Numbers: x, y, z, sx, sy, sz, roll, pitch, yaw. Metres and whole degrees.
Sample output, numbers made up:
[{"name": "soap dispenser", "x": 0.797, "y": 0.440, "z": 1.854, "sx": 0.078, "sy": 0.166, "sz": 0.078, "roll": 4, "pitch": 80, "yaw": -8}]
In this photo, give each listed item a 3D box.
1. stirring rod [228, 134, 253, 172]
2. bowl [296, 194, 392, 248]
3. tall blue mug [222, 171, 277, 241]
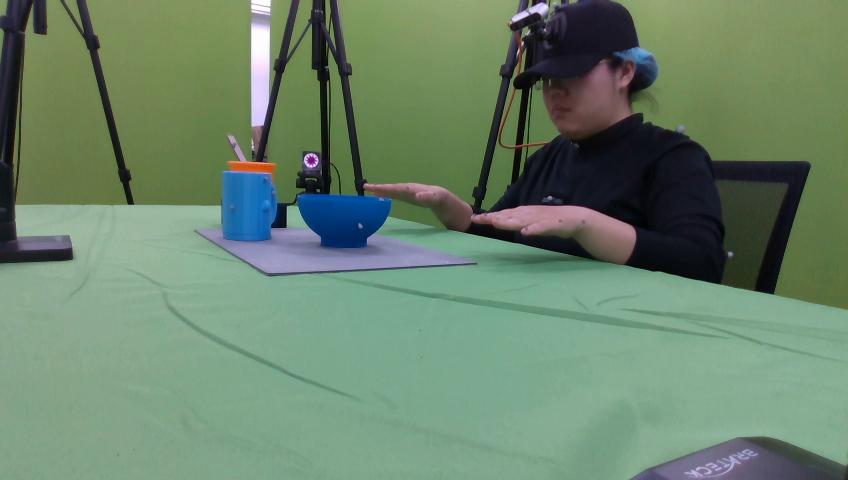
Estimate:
[{"name": "stirring rod", "x": -0.353, "y": -0.148, "z": 1.197, "sx": 0.014, "sy": 0.006, "sz": 0.175, "roll": -4, "pitch": 51, "yaw": -46}, {"name": "bowl", "x": -0.128, "y": -0.030, "z": 0.964, "sx": 0.151, "sy": 0.077, "sz": 0.151, "roll": 2, "pitch": 7, "yaw": 0}, {"name": "tall blue mug", "x": -0.290, "y": -0.059, "z": 1.003, "sx": 0.078, "sy": 0.108, "sz": 0.107, "roll": 1, "pitch": 7, "yaw": -6}]
